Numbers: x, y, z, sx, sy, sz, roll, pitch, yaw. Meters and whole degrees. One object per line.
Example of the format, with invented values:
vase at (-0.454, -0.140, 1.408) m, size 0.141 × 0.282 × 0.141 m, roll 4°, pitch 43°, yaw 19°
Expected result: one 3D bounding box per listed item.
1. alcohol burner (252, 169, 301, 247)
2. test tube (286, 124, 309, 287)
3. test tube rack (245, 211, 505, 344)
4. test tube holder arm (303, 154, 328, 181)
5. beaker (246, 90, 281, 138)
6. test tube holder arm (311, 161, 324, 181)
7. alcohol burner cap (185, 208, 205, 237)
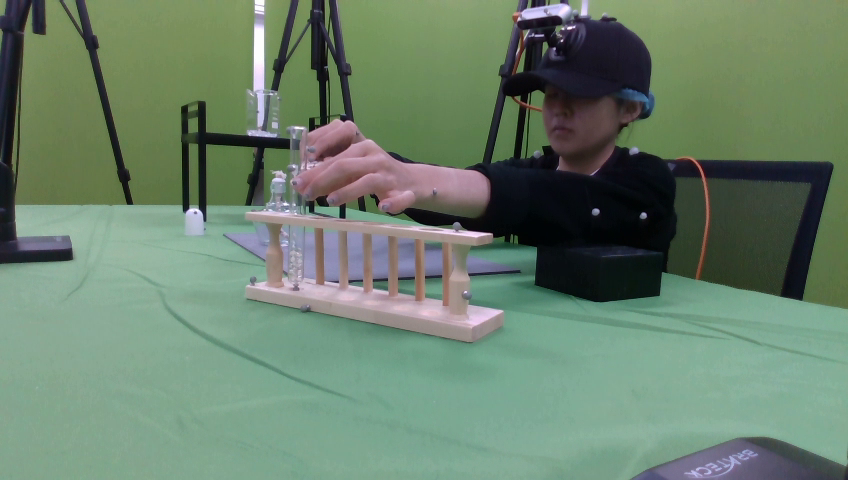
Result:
alcohol burner at (-0.228, -0.050, 0.937) m, size 0.078 × 0.119 × 0.078 m, roll 1°, pitch 7°, yaw 0°
test tube at (-0.117, -0.030, 0.557) m, size 0.017 × 0.150 × 0.017 m, roll 4°, pitch 10°, yaw 0°
test tube rack at (-0.049, 0.025, 0.547) m, size 0.241 × 0.085 × 0.067 m, roll 7°, pitch 8°, yaw 29°
test tube holder arm at (-0.129, -0.090, 0.726) m, size 0.013 × 0.015 × 0.178 m, roll 5°, pitch 13°, yaw -6°
beaker at (-0.354, -0.275, 1.322) m, size 0.074 × 0.100 × 0.084 m, roll 4°, pitch 8°, yaw 12°
test tube holder arm at (-0.119, -0.079, 0.683) m, size 0.010 × 0.015 × 0.087 m, roll 4°, pitch 13°, yaw -8°
alcohol burner cap at (-0.392, -0.031, 1.032) m, size 0.034 × 0.048 × 0.034 m, roll 3°, pitch 8°, yaw 0°
